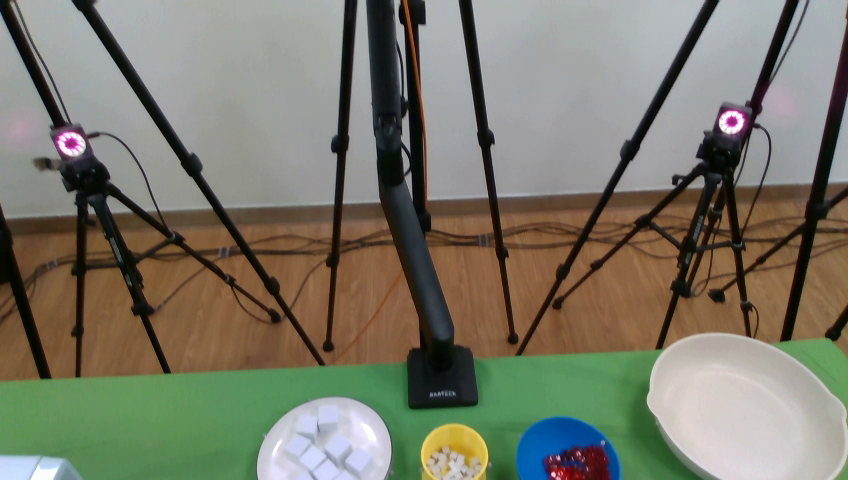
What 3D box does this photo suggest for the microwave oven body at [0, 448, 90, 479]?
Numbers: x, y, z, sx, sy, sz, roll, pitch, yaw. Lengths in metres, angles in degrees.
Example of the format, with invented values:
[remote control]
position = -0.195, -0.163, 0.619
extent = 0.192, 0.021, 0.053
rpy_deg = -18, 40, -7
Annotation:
[microwave oven body]
position = -0.574, 0.474, 0.624
extent = 0.326, 0.262, 0.437
rpy_deg = 0, 43, 1

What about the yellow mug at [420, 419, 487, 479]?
[yellow mug]
position = 0.054, 0.341, 0.912
extent = 0.100, 0.064, 0.129
rpy_deg = -30, 50, -28

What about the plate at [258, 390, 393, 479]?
[plate]
position = -0.151, 0.332, 0.946
extent = 0.208, 0.039, 0.205
rpy_deg = 0, 42, 1

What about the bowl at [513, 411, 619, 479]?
[bowl]
position = 0.205, 0.340, 0.901
extent = 0.151, 0.077, 0.150
rpy_deg = -1, 43, 1

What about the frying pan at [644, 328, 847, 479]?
[frying pan]
position = 0.497, 0.331, 0.886
extent = 0.307, 0.103, 0.483
rpy_deg = 1, 34, 4
